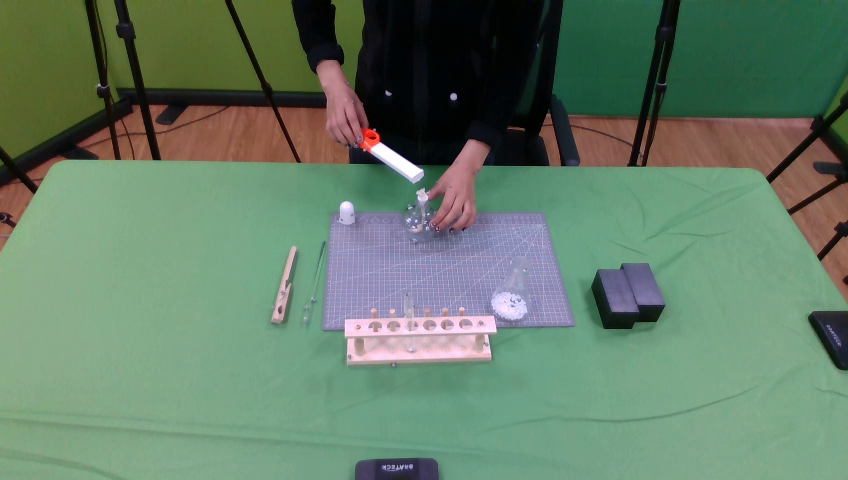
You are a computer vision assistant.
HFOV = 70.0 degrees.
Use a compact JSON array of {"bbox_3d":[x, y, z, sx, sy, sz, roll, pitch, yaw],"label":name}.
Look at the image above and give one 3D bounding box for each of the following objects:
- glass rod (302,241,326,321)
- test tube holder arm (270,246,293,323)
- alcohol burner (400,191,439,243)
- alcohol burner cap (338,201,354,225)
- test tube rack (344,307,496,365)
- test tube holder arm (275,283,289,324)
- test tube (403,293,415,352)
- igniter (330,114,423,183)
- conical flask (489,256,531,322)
[{"bbox_3d":[-0.203,0.071,1.124,0.008,0.008,0.198,4,44,1],"label":"glass rod"},{"bbox_3d":[-0.259,0.076,1.106,0.013,0.015,0.177,28,38,-26],"label":"test tube holder arm"},{"bbox_3d":[-0.007,-0.052,1.182,0.078,0.119,0.077,3,47,-3],"label":"alcohol burner"},{"bbox_3d":[-0.159,-0.056,1.224,0.034,0.048,0.033,2,46,-2],"label":"alcohol burner cap"},{"bbox_3d":[-0.009,0.154,1.007,0.242,0.085,0.066,-1,46,-5],"label":"test tube rack"},{"bbox_3d":[-0.253,0.111,1.077,0.010,0.015,0.087,28,38,-26],"label":"test tube holder arm"},{"bbox_3d":[-0.024,0.133,0.957,0.017,0.151,0.017,0,48,0],"label":"test tube"},{"bbox_3d":[-0.104,-0.190,1.219,0.057,0.025,0.275,-35,53,-25],"label":"igniter"},{"bbox_3d":[0.158,0.081,1.061,0.075,0.122,0.075,2,46,-2],"label":"conical flask"}]
